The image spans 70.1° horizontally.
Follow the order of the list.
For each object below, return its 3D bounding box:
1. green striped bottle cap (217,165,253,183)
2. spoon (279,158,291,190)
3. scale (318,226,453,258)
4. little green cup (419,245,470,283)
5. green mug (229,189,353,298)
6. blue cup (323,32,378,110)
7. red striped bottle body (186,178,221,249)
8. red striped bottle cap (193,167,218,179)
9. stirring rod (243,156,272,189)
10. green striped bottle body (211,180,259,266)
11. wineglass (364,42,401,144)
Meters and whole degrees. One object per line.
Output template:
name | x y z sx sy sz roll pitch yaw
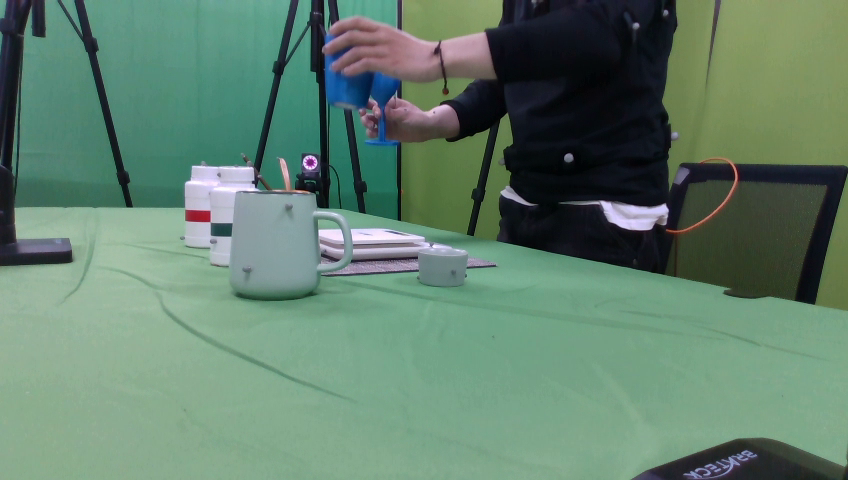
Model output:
green striped bottle cap | -0.242 -0.085 0.777 0.044 0.020 0.044 2 9 0
spoon | -0.280 -0.102 1.251 0.042 0.193 0.021 8 -41 -31
scale | -0.066 0.001 0.906 0.202 0.031 0.148 -2 8 -31
little green cup | 0.023 0.028 0.712 0.061 0.038 0.061 2 6 0
green mug | -0.135 0.002 0.618 0.125 0.105 0.092 2 7 4
blue cup | -0.118 -0.257 0.938 0.093 0.100 0.092 5 2 0
red striped bottle body | -0.331 -0.049 0.928 0.063 0.119 0.063 2 7 0
red striped bottle cap | -0.329 -0.103 0.921 0.044 0.017 0.044 -1 9 0
stirring rod | -0.304 -0.099 1.201 0.006 0.177 0.014 -27 38 7
green striped bottle body | -0.243 -0.029 0.784 0.063 0.119 0.063 2 7 0
wineglass | -0.077 -0.262 1.083 0.074 0.172 0.073 0 14 0
